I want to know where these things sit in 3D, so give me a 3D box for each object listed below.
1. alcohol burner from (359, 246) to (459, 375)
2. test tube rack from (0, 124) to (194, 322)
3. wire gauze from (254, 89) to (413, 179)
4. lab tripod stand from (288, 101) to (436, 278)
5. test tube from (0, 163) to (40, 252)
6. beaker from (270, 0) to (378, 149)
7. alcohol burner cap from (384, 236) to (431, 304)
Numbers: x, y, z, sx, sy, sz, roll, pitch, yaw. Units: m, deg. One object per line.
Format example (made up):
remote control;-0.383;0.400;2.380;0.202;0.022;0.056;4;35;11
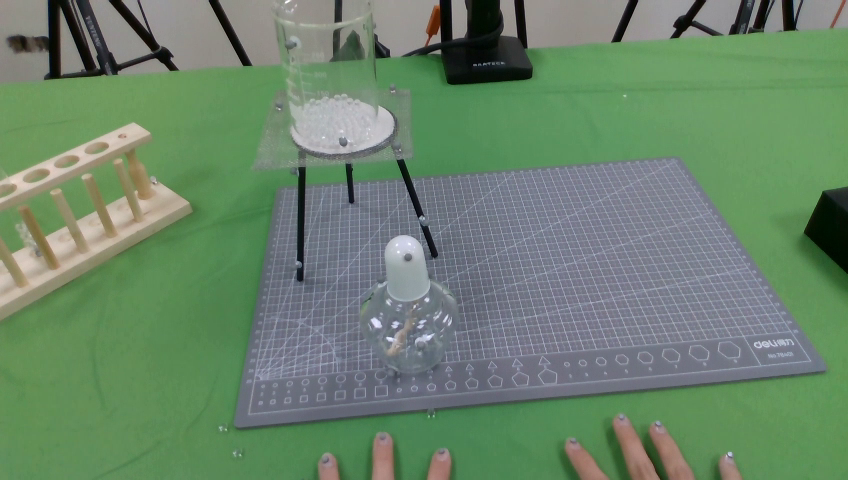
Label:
alcohol burner;-0.012;0.046;0.453;0.078;0.120;0.077;0;43;1
test tube rack;-0.348;-0.012;0.560;0.066;0.086;0.242;29;50;31
wire gauze;-0.071;-0.094;0.500;0.121;0.011;0.124;-3;43;-1
lab tripod stand;-0.060;-0.046;0.545;0.148;0.132;0.147;0;40;1
test tube;-0.372;-0.051;0.531;0.017;0.151;0.017;-3;36;3
beaker;-0.074;-0.129;0.466;0.083;0.101;0.074;25;47;26
alcohol burner cap;-0.012;0.019;0.429;0.034;0.048;0.033;-3;41;3
